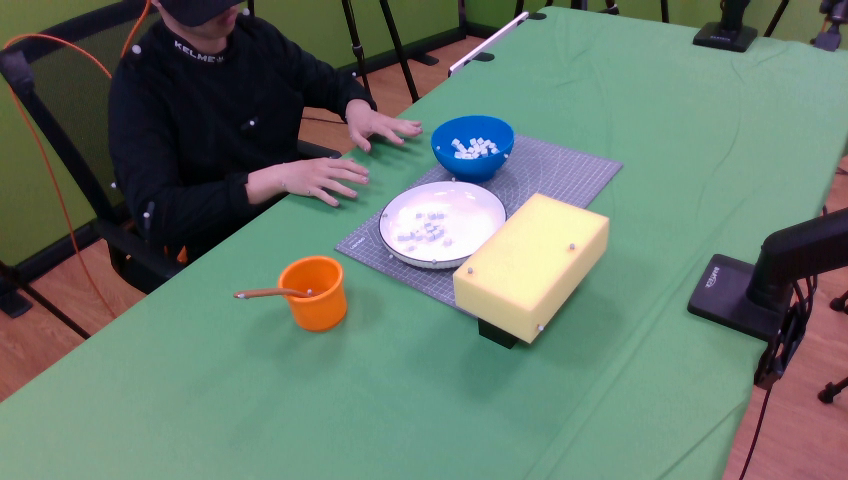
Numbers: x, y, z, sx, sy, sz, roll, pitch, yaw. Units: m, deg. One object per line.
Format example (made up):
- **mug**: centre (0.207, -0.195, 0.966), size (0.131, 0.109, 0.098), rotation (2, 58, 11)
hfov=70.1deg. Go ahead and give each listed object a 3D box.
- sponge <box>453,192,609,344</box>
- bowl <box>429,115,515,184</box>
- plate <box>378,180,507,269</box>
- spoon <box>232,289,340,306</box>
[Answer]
- **sponge**: centre (0.147, 0.029, 0.808), size (0.117, 0.061, 0.207), rotation (23, 49, 31)
- **bowl**: centre (0.089, -0.154, 1.088), size (0.151, 0.077, 0.150), rotation (-4, 40, 4)
- **plate**: centre (0.031, -0.022, 0.974), size (0.209, 0.038, 0.208), rotation (-4, 40, 4)
- **spoon**: centre (-0.181, 0.074, 0.811), size (0.041, 0.195, 0.021), rotation (16, 90, 31)
